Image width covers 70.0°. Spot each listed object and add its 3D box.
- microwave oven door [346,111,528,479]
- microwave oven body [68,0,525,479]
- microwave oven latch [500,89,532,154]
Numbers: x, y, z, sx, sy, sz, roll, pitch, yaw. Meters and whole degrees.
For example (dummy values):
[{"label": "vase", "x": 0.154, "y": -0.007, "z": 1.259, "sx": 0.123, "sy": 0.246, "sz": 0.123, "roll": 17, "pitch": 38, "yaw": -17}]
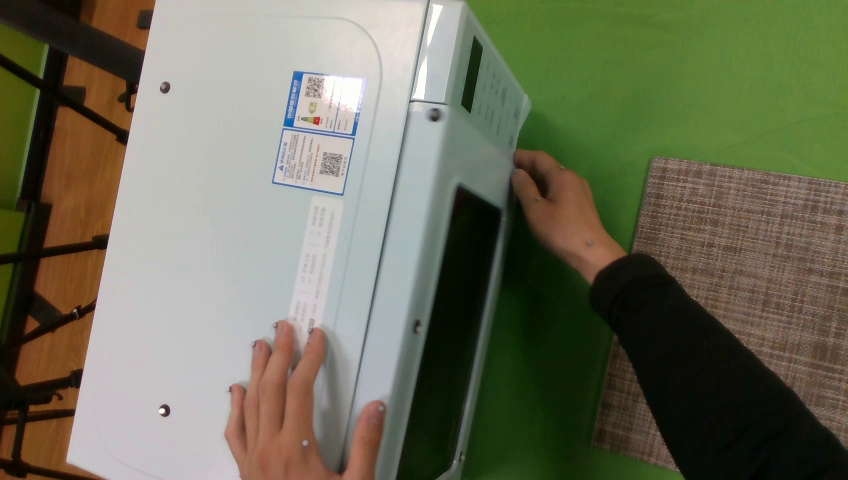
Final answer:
[{"label": "microwave oven door", "x": 0.016, "y": 0.088, "z": 0.547, "sx": 0.039, "sy": 0.245, "sz": 0.355, "roll": 12, "pitch": 89, "yaw": 23}, {"label": "microwave oven body", "x": -0.111, "y": 0.023, "z": 0.608, "sx": 0.324, "sy": 0.261, "sz": 0.441, "roll": 10, "pitch": 90, "yaw": 22}, {"label": "microwave oven latch", "x": 0.088, "y": -0.123, "z": 0.647, "sx": 0.030, "sy": 0.029, "sz": 0.079, "roll": 29, "pitch": 96, "yaw": 20}]
